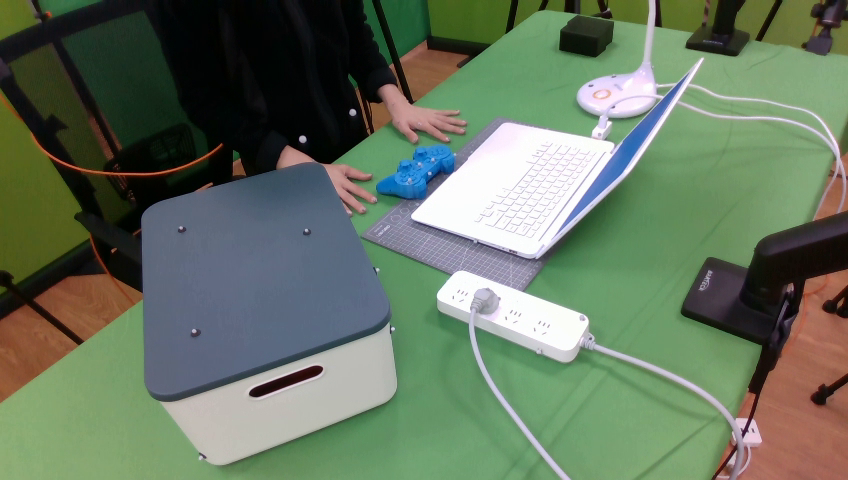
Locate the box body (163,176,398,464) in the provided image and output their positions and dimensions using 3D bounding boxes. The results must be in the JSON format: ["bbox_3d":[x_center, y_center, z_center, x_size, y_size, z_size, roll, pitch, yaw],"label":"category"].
[{"bbox_3d":[-0.205,0.080,0.802,0.255,0.161,0.361,-18,41,-13],"label":"box body"}]

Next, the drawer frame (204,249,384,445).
[{"bbox_3d":[-0.174,0.129,0.789,0.202,0.083,0.212,-16,45,-7],"label":"drawer frame"}]

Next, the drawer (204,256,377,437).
[{"bbox_3d":[-0.178,0.129,0.786,0.195,0.073,0.210,-13,39,-10],"label":"drawer"}]

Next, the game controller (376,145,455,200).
[{"bbox_3d":[-0.011,-0.131,1.112,0.096,0.052,0.155,23,49,28],"label":"game controller"}]

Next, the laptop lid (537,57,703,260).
[{"bbox_3d":[0.304,-0.127,0.928,0.013,0.241,0.357,39,51,4],"label":"laptop lid"}]

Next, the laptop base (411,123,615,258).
[{"bbox_3d":[0.167,-0.102,1.074,0.234,0.023,0.355,16,45,30],"label":"laptop base"}]

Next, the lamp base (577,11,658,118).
[{"bbox_3d":[0.406,-0.363,1.222,0.180,0.181,0.159,-20,42,-18],"label":"lamp base"}]

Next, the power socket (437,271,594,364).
[{"bbox_3d":[0.118,0.102,0.830,0.225,0.033,0.072,20,48,28],"label":"power socket"}]

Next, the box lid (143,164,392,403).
[{"bbox_3d":[-0.212,0.025,0.753,0.264,0.015,0.368,-18,40,-13],"label":"box lid"}]

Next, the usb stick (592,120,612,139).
[{"bbox_3d":[0.335,-0.203,1.149,0.021,0.027,0.059,26,53,26],"label":"usb stick"}]

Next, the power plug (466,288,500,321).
[{"bbox_3d":[0.072,0.093,0.813,0.035,0.053,0.073,30,55,35],"label":"power plug"}]
